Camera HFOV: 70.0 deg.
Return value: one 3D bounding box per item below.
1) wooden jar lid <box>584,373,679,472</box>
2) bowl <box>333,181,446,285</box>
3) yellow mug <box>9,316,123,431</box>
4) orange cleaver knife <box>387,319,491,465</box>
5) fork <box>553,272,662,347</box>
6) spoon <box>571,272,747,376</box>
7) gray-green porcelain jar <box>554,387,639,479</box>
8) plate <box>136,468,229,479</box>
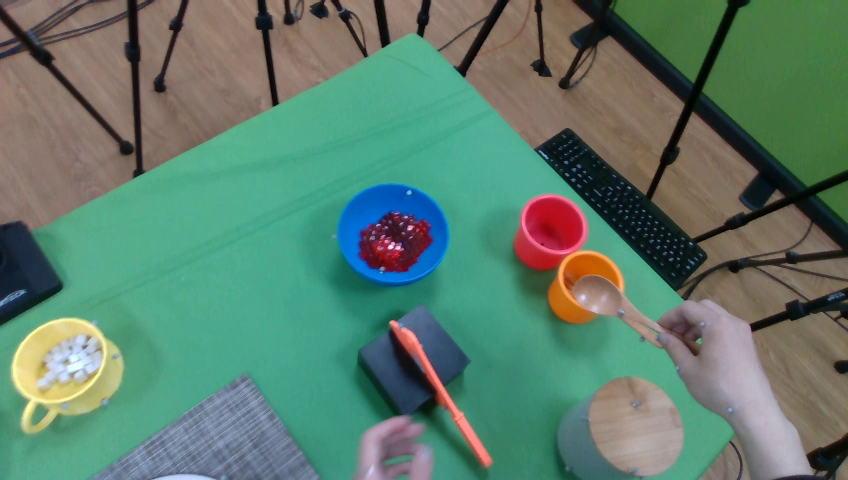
[{"bbox_3d":[0.231,0.205,0.681,0.108,0.021,0.107,2,64,-5],"label":"wooden jar lid"},{"bbox_3d":[-0.050,0.002,0.836,0.152,0.077,0.150,4,64,-7],"label":"bowl"},{"bbox_3d":[-0.424,0.159,0.706,0.100,0.064,0.130,20,63,2],"label":"yellow mug"},{"bbox_3d":[0.016,0.187,0.753,0.012,0.077,0.212,-34,97,-18],"label":"orange cleaver knife"},{"bbox_3d":[0.237,0.088,0.799,0.028,0.019,0.205,-17,24,-18],"label":"fork"},{"bbox_3d":[0.244,0.091,0.641,0.192,0.022,0.041,31,98,27],"label":"spoon"},{"bbox_3d":[0.222,0.234,0.738,0.106,0.127,0.105,4,63,-7],"label":"gray-green porcelain jar"},{"bbox_3d":[-0.270,0.354,0.646,0.209,0.038,0.207,4,64,-7],"label":"plate"}]
